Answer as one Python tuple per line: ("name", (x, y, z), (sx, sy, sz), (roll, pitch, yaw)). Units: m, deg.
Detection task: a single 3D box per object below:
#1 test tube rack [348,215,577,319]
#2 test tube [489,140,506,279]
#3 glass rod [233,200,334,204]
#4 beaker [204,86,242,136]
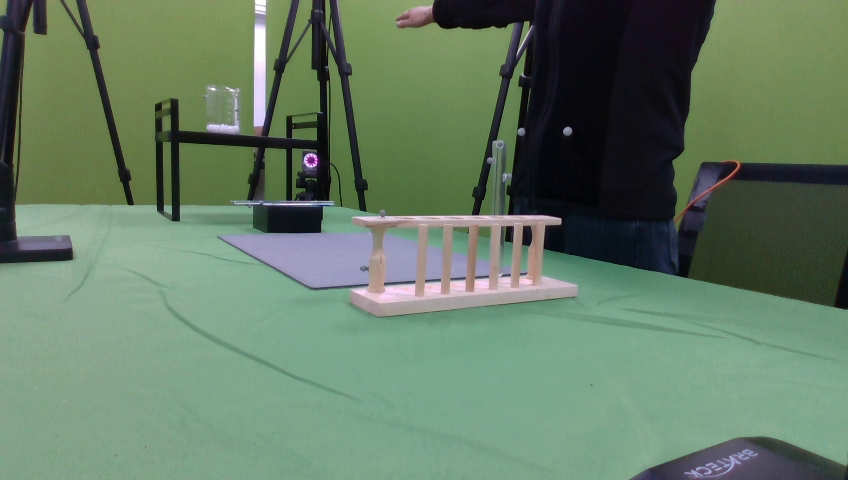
("test tube rack", (0.048, 0.021, 0.619), (0.244, 0.085, 0.066), (-2, 9, -31))
("test tube", (0.079, -0.032, 0.653), (0.017, 0.150, 0.017), (1, 2, 0))
("glass rod", (-0.262, -0.071, 1.146), (0.201, 0.008, 0.008), (-2, 9, -34))
("beaker", (-0.429, -0.276, 1.300), (0.083, 0.100, 0.074), (9, 10, 37))
